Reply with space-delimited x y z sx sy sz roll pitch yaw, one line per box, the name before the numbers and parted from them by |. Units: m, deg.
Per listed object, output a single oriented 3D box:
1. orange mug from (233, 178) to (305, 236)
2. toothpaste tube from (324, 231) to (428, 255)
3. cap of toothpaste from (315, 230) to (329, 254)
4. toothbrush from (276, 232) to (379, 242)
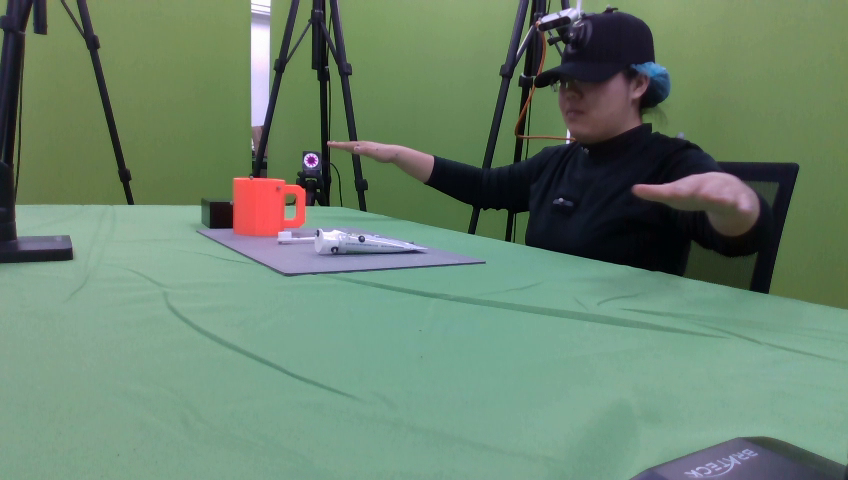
orange mug | -0.273 -0.061 1.067 0.127 0.101 0.083 -5 10 -24
toothpaste tube | -0.076 0.006 0.893 0.166 0.034 0.055 1 10 -32
cap of toothpaste | -0.144 0.003 0.854 0.011 0.037 0.037 2 6 -30
toothbrush | -0.153 -0.005 0.990 0.183 0.016 0.014 -1 -6 -33
